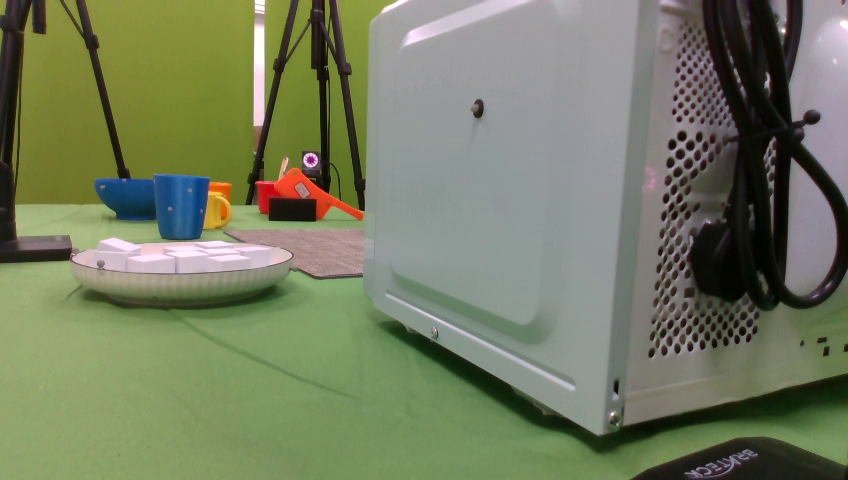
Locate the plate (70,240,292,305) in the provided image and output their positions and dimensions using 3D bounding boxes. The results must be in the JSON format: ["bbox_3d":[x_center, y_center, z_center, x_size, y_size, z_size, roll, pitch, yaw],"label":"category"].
[{"bbox_3d":[-0.242,0.031,0.618,0.208,0.039,0.207,2,8,0],"label":"plate"}]

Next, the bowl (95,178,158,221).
[{"bbox_3d":[-0.576,-0.081,1.217,0.151,0.077,0.151,3,8,0],"label":"bowl"}]

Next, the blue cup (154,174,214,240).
[{"bbox_3d":[-0.390,-0.053,0.978,0.093,0.100,0.092,4,6,0],"label":"blue cup"}]

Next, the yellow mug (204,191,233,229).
[{"bbox_3d":[-0.415,-0.057,1.132,0.130,0.064,0.100,6,8,16],"label":"yellow mug"}]

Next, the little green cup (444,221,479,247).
[{"bbox_3d":[0.064,-0.011,1.034,0.061,0.038,0.061,0,9,0],"label":"little green cup"}]

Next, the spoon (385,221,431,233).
[{"bbox_3d":[-0.024,-0.029,1.187,0.041,0.021,0.194,-12,0,22],"label":"spoon"}]

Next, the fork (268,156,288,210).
[{"bbox_3d":[-0.360,-0.144,1.508,0.028,0.018,0.207,1,49,0],"label":"fork"}]

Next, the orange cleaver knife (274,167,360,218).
[{"bbox_3d":[-0.238,-0.091,1.381,0.212,0.077,0.012,31,0,-19],"label":"orange cleaver knife"}]

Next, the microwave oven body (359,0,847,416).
[{"bbox_3d":[0.211,-0.047,0.474,0.444,0.260,0.324,-1,7,-28],"label":"microwave oven body"}]

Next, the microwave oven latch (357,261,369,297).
[{"bbox_3d":[-0.019,0.033,0.531,0.079,0.029,0.030,-1,7,-27],"label":"microwave oven latch"}]

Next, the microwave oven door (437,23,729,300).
[{"bbox_3d":[0.181,-0.072,0.621,0.358,0.243,0.039,-2,9,-29],"label":"microwave oven door"}]
